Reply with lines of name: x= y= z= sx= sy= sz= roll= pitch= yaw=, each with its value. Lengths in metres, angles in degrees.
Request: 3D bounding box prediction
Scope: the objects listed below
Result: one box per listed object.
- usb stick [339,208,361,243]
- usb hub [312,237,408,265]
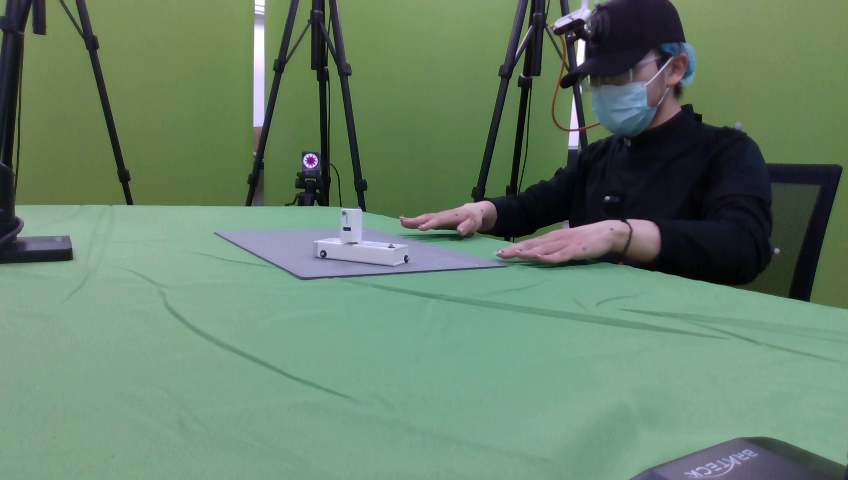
usb stick: x=-0.100 y=-0.013 z=0.815 sx=0.021 sy=0.059 sz=0.027 roll=5 pitch=10 yaw=20
usb hub: x=-0.088 y=0.014 z=0.829 sx=0.125 sy=0.025 sz=0.050 roll=5 pitch=8 yaw=22
